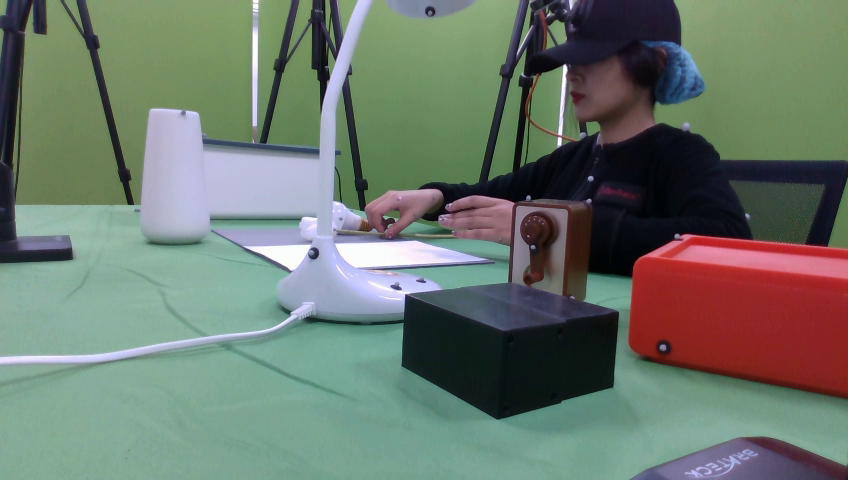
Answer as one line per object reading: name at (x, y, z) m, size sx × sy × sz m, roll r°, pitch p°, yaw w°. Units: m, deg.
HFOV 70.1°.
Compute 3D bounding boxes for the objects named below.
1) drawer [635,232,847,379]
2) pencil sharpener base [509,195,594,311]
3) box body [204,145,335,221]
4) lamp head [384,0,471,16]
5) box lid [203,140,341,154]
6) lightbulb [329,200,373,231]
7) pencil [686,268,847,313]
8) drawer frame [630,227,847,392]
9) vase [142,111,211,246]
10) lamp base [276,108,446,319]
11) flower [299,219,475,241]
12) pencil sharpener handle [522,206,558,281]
drawer at (0.292, 0.045, 0.488) m, size 0.193 × 0.073 × 0.213 m, roll 7°, pitch 10°, yaw 30°
pencil sharpener base at (0.126, 0.011, 0.601) m, size 0.061 × 0.107 × 0.077 m, roll 7°, pitch 9°, yaw 30°
box body at (-0.411, -0.135, 1.386) m, size 0.366 × 0.160 × 0.253 m, roll -2°, pitch 9°, yaw -29°
lamp head at (-0.001, -0.301, 0.599) m, size 0.112 × 0.112 × 0.123 m, roll 4°, pitch -30°, yaw 14°
box lid at (-0.396, -0.212, 1.373) m, size 0.373 × 0.015 × 0.262 m, roll -1°, pitch 9°, yaw -29°
lightbulb at (-0.143, -0.036, 1.108) m, size 0.108 × 0.059 × 0.059 m, roll 16°, pitch 0°, yaw -27°
pencil at (0.308, 0.045, 0.515) m, size 0.194 × 0.012 × 0.012 m, roll 13°, pitch 5°, yaw -12°
drawer frame at (0.292, 0.043, 0.484) m, size 0.201 × 0.082 × 0.214 m, roll 7°, pitch 9°, yaw 29°
vase at (-0.378, -0.093, 0.920) m, size 0.098 × 0.200 × 0.098 m, roll 2°, pitch 9°, yaw 0°
lamp base at (-0.061, -0.027, 0.556) m, size 0.160 × 0.180 × 0.180 m, roll 4°, pitch 10°, yaw 20°
flower at (-0.049, -0.009, 1.081) m, size 0.364 × 0.038 × 0.044 m, roll 3°, pitch 36°, yaw -36°
pencil sharpener handle at (0.102, 0.003, 0.555) m, size 0.036 × 0.067 × 0.031 m, roll 0°, pitch 5°, yaw 31°
